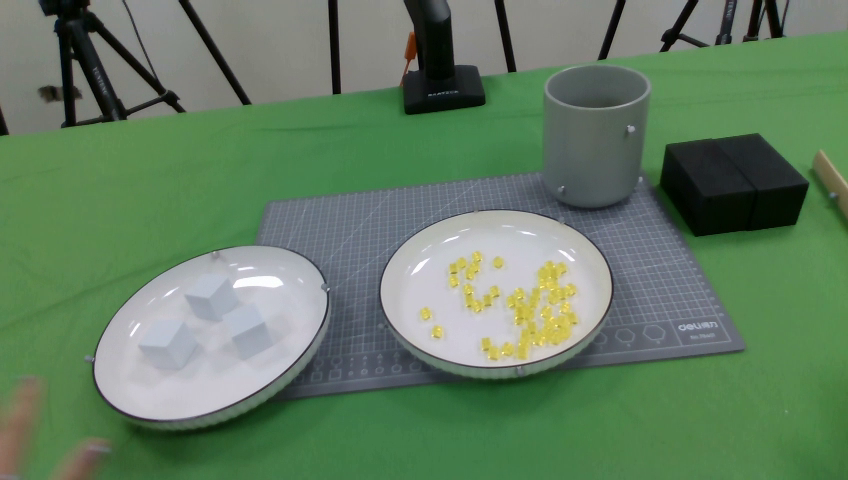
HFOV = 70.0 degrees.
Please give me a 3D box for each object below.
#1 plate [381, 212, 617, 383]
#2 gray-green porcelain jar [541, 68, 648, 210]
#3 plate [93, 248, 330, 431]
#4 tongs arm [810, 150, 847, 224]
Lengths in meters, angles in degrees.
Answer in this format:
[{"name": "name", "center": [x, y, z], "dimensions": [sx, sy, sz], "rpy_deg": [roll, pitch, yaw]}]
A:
[{"name": "plate", "center": [0.066, 0.050, 0.550], "dimensions": [0.207, 0.039, 0.205], "rpy_deg": [-5, 38, 4]}, {"name": "gray-green porcelain jar", "center": [0.179, -0.104, 0.650], "dimensions": [0.106, 0.128, 0.105], "rpy_deg": [-5, 39, 4]}, {"name": "plate", "center": [-0.184, 0.087, 0.548], "dimensions": [0.209, 0.038, 0.207], "rpy_deg": [-6, 39, 5]}, {"name": "tongs arm", "center": [0.423, 0.032, 0.524], "dimensions": [0.028, 0.028, 0.384], "rpy_deg": [-1, 39, 5]}]
